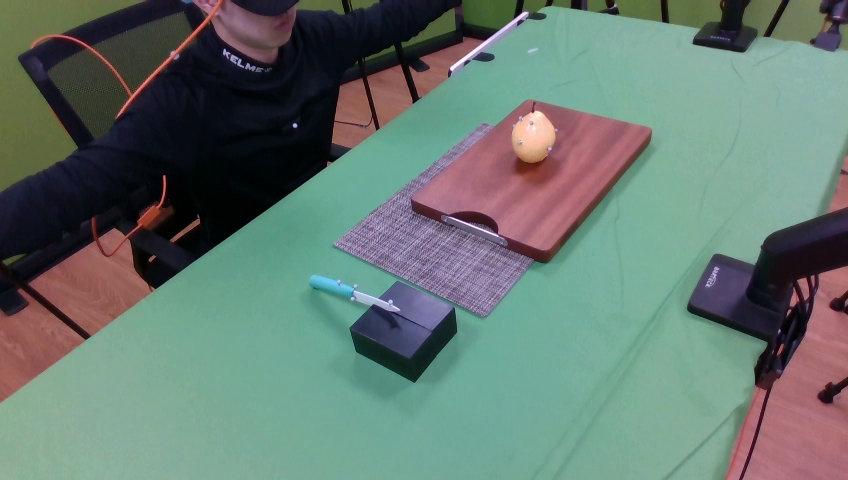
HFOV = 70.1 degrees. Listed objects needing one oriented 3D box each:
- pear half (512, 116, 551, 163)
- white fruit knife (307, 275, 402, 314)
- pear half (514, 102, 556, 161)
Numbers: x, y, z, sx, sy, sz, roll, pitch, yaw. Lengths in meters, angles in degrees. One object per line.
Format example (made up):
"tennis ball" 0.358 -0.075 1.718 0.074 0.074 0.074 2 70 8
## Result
"pear half" 0.182 -0.169 1.043 0.070 0.088 0.031 12 45 18
"white fruit knife" -0.102 0.076 0.847 0.205 0.027 0.016 11 46 43
"pear half" 0.196 -0.198 1.060 0.076 0.110 0.056 12 44 17
